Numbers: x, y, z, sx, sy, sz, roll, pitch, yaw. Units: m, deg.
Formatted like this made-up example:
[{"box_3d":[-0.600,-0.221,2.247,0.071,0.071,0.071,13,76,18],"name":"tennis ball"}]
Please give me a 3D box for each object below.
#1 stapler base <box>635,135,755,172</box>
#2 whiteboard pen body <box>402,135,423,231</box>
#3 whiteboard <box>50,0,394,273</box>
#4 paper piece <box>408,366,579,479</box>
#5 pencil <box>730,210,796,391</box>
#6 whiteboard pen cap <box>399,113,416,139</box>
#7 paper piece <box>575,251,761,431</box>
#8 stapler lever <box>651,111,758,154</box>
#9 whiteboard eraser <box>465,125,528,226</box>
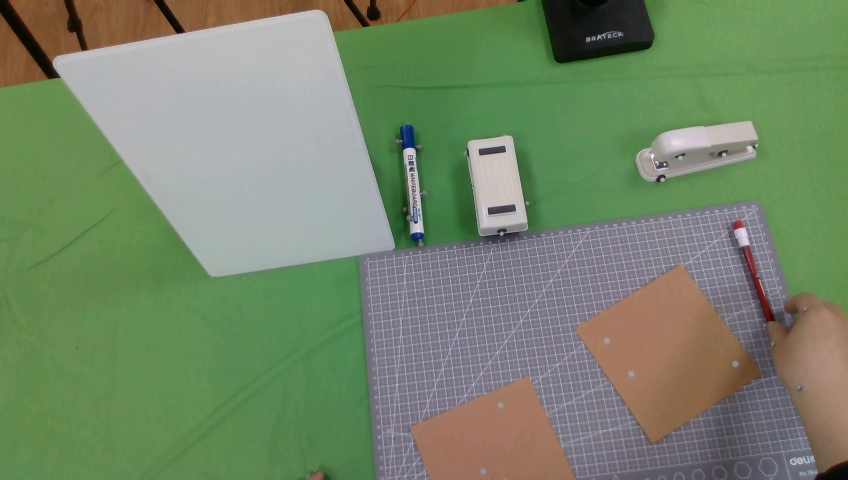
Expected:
[{"box_3d":[0.307,-0.111,0.682,0.130,0.024,0.041,-13,75,-1],"name":"stapler base"},{"box_3d":[-0.015,-0.078,0.704,0.017,0.017,0.140,-7,72,4],"name":"whiteboard pen body"},{"box_3d":[-0.164,-0.124,0.614,0.217,0.308,0.142,-8,53,4],"name":"whiteboard"},{"box_3d":[0.071,0.214,0.610,0.135,0.004,0.135,-22,73,-2],"name":"paper piece"},{"box_3d":[0.353,0.060,0.629,0.012,0.012,0.193,-12,75,2],"name":"pencil"},{"box_3d":[-0.019,-0.133,0.721,0.018,0.018,0.033,-10,70,3],"name":"whiteboard pen cap"},{"box_3d":[0.250,0.103,0.627,0.136,0.009,0.137,-31,75,1],"name":"paper piece"},{"box_3d":[0.306,-0.119,0.659,0.118,0.040,0.026,-13,74,1],"name":"stapler lever"},{"box_3d":[0.081,-0.072,0.682,0.055,0.042,0.112,-9,73,4],"name":"whiteboard eraser"}]
